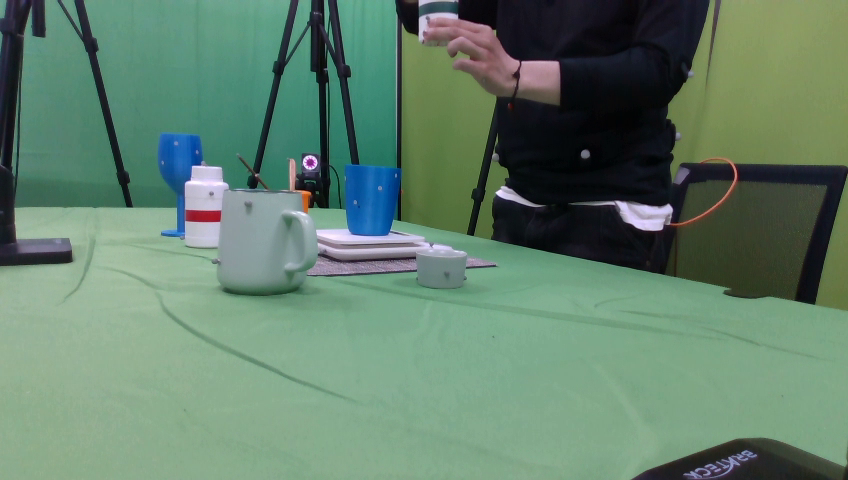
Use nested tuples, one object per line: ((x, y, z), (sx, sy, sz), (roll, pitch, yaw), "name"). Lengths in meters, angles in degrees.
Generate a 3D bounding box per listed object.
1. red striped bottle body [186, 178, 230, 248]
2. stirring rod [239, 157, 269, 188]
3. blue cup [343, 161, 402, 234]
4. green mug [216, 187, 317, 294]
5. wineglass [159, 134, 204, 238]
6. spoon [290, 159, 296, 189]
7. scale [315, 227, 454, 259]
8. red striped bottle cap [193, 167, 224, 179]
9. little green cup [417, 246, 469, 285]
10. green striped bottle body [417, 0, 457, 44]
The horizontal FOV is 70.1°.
((-0.331, -0.049, 0.927), (0.063, 0.119, 0.063), (2, 7, 0), "red striped bottle body")
((-0.309, -0.098, 1.209), (0.006, 0.177, 0.014), (-39, 29, -4), "stirring rod")
((-0.078, -0.062, 0.884), (0.093, 0.100, 0.092), (4, 6, 0), "blue cup")
((-0.157, 0.000, 0.629), (0.124, 0.105, 0.093), (7, 9, 37), "green mug")
((-0.415, -0.093, 1.040), (0.074, 0.172, 0.073), (2, 7, 0), "wineglass")
((-0.273, -0.102, 1.252), (0.042, 0.193, 0.021), (7, -38, -17), "spoon")
((-0.066, 0.001, 0.906), (0.202, 0.031, 0.148), (-2, 8, -31), "scale")
((-0.329, -0.103, 0.921), (0.044, 0.017, 0.044), (0, 9, 0), "red striped bottle cap")
((0.021, 0.029, 0.701), (0.061, 0.038, 0.061), (1, 6, 0), "little green cup")
((0.019, -0.371, 0.939), (0.063, 0.119, 0.063), (-2, 8, 1), "green striped bottle body")
